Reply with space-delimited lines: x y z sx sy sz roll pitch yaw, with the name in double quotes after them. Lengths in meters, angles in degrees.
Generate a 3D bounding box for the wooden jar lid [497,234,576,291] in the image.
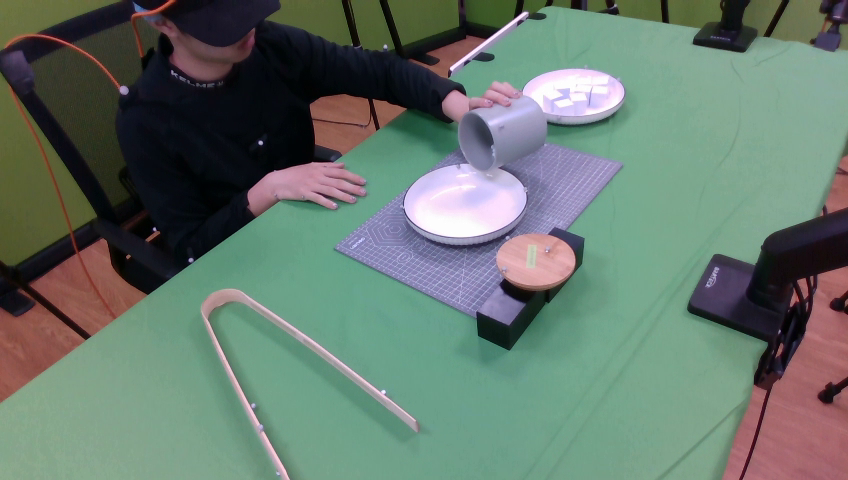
0.155 0.032 0.834 0.108 0.021 0.108 -5 40 4 "wooden jar lid"

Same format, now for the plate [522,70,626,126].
0.308 -0.289 1.251 0.207 0.039 0.206 -4 40 4 "plate"

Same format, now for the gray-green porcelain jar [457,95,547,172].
0.138 -0.185 1.034 0.127 0.106 0.105 -25 43 -26 "gray-green porcelain jar"

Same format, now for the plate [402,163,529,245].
0.069 -0.056 1.008 0.209 0.038 0.208 -4 40 4 "plate"

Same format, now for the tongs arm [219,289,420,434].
-0.152 0.151 0.812 0.384 0.028 0.028 26 53 33 "tongs arm"

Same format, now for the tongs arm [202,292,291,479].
-0.216 0.187 0.772 0.051 0.026 0.381 -27 43 -24 "tongs arm"
